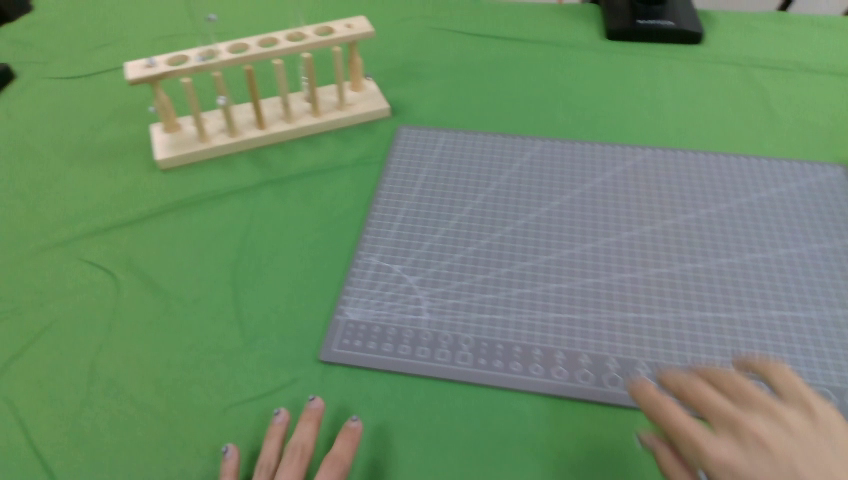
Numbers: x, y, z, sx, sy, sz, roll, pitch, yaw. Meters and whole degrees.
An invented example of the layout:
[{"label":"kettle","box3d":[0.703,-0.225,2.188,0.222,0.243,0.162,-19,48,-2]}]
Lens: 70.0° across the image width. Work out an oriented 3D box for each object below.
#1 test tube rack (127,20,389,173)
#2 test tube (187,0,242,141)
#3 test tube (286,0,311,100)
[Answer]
[{"label":"test tube rack","box3d":[-0.163,-0.150,0.624,0.243,0.086,0.066,-17,48,-14]},{"label":"test tube","box3d":[-0.196,-0.158,0.570,0.017,0.152,0.017,0,45,1]},{"label":"test tube","box3d":[-0.126,-0.209,0.611,0.017,0.151,0.017,0,45,0]}]
